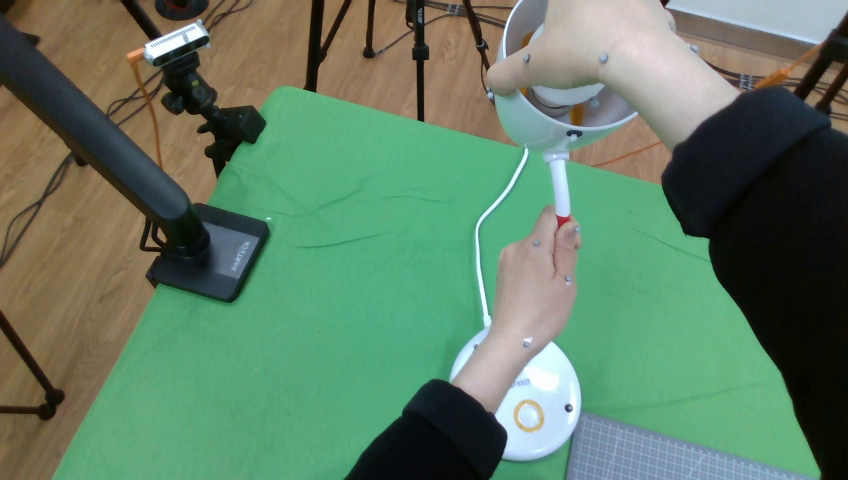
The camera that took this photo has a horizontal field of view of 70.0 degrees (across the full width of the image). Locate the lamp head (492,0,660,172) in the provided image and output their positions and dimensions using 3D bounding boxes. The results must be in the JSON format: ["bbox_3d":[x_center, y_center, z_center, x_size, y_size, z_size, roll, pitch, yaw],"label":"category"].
[{"bbox_3d":[0.101,-0.115,0.459,0.112,0.123,0.112,2,75,-5],"label":"lamp head"}]

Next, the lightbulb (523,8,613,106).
[{"bbox_3d":[0.097,-0.124,0.436,0.059,0.108,0.059,0,84,-2],"label":"lightbulb"}]

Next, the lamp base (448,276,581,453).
[{"bbox_3d":[0.108,0.128,0.668,0.161,0.181,0.177,-21,63,-15],"label":"lamp base"}]
